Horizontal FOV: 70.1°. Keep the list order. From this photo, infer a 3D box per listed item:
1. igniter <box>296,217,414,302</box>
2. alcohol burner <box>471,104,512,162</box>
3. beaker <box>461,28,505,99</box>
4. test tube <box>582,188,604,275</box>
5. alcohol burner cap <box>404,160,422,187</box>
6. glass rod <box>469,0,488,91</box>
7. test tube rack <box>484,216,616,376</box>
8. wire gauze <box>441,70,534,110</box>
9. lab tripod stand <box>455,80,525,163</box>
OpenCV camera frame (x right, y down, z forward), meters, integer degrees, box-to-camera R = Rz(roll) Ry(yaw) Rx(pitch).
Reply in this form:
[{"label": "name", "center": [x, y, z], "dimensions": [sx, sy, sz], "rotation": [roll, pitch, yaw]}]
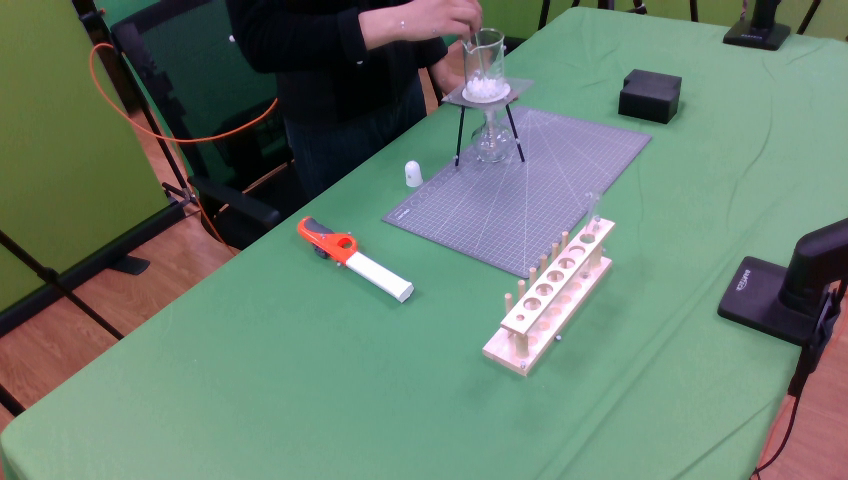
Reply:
[{"label": "igniter", "center": [-0.121, 0.025, 0.970], "dimensions": [0.274, 0.025, 0.057], "rotation": [29, 63, 37]}, {"label": "alcohol burner", "center": [0.125, -0.207, 1.126], "dimensions": [0.078, 0.119, 0.077], "rotation": [-5, 43, 5]}, {"label": "beaker", "center": [0.102, -0.304, 1.051], "dimensions": [0.073, 0.101, 0.084], "rotation": [19, 48, 29]}, {"label": "test tube", "center": [0.228, -0.007, 0.821], "dimensions": [0.017, 0.151, 0.017], "rotation": [-3, 42, 3]}, {"label": "alcohol burner cap", "center": [-0.023, -0.125, 1.118], "dimensions": [0.034, 0.048, 0.033], "rotation": [-4, 40, 4]}, {"label": "glass rod", "center": [0.088, -0.340, 1.004], "dimensions": [0.008, 0.201, 0.008], "rotation": [-10, 37, 8]}, {"label": "test tube rack", "center": [0.174, 0.064, 0.823], "dimensions": [0.066, 0.085, 0.243], "rotation": [23, 49, 32]}, {"label": "wire gauze", "center": [0.114, -0.268, 1.082], "dimensions": [0.120, 0.011, 0.125], "rotation": [22, 47, 29]}, {"label": "lab tripod stand", "center": [0.120, -0.219, 1.126], "dimensions": [0.148, 0.132, 0.147], "rotation": [-4, 40, 4]}]
